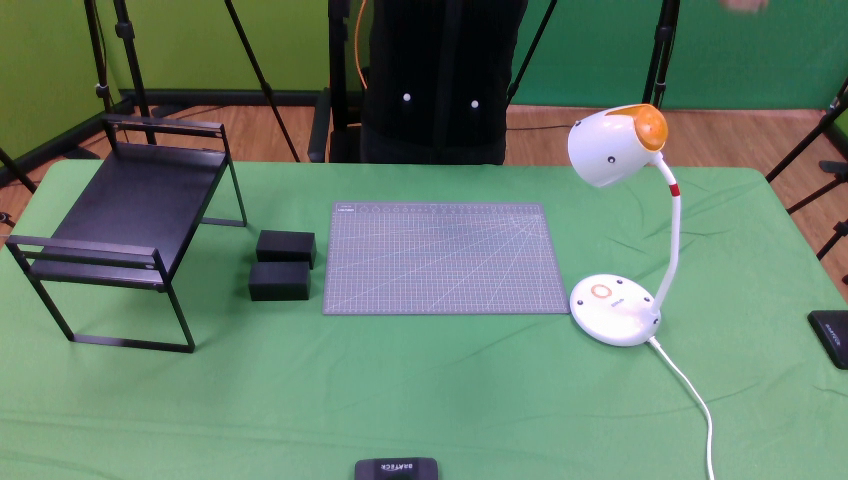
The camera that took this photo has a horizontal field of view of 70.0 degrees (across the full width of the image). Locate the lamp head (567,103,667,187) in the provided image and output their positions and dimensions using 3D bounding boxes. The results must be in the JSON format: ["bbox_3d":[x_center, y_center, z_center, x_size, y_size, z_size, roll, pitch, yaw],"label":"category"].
[{"bbox_3d":[0.289,-0.142,0.876,0.113,0.122,0.112,5,81,-30],"label":"lamp head"}]

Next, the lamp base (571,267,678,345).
[{"bbox_3d":[0.359,0.076,1.038,0.160,0.181,0.178,-34,59,-30],"label":"lamp base"}]

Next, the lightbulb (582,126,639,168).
[{"bbox_3d":[0.279,-0.143,0.899,0.060,0.107,0.059,3,81,-20],"label":"lightbulb"}]
